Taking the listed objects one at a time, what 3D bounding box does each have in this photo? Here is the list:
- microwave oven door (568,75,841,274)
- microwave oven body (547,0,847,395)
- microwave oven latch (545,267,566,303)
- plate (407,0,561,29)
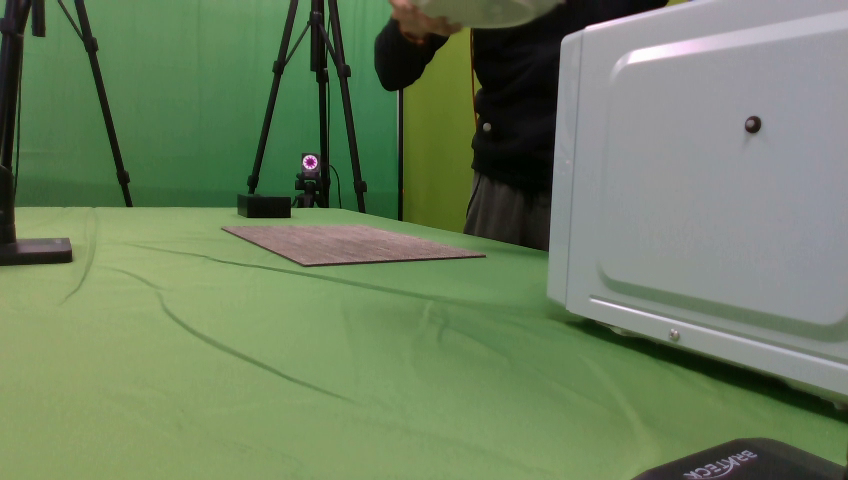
[{"bbox_3d":[0.370,-0.095,0.858,0.039,0.243,0.354,-6,9,-45],"label":"microwave oven door"},{"bbox_3d":[0.378,-0.046,0.510,0.444,0.260,0.324,-2,7,-31],"label":"microwave oven body"},{"bbox_3d":[0.148,0.039,0.555,0.079,0.029,0.030,-1,7,-28],"label":"microwave oven latch"},{"bbox_3d":[0.073,-0.311,0.781,0.209,0.038,0.209,4,6,0],"label":"plate"}]
